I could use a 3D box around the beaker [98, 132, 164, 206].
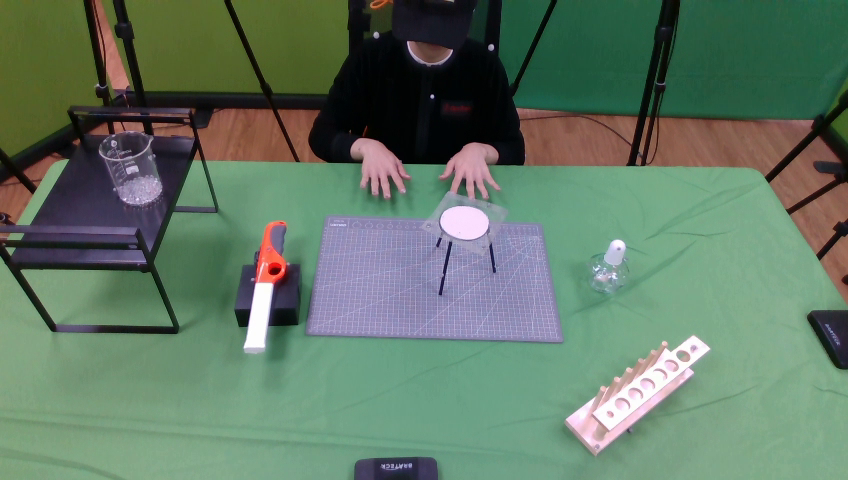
[{"bbox_3d":[-0.460,-0.112,0.968,0.073,0.101,0.084,37,54,28],"label":"beaker"}]

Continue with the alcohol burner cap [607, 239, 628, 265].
[{"bbox_3d":[0.351,0.019,1.091,0.034,0.048,0.033,2,45,-1],"label":"alcohol burner cap"}]

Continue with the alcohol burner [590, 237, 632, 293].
[{"bbox_3d":[0.348,0.040,1.114,0.078,0.119,0.077,3,44,-2],"label":"alcohol burner"}]

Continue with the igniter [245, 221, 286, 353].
[{"bbox_3d":[-0.270,0.070,1.040,0.057,0.025,0.274,2,48,-6],"label":"igniter"}]

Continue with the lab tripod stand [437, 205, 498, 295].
[{"bbox_3d":[0.066,0.010,1.107,0.148,0.132,0.147,0,46,0],"label":"lab tripod stand"}]

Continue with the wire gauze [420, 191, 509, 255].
[{"bbox_3d":[0.072,-0.035,1.058,0.125,0.011,0.121,21,48,18],"label":"wire gauze"}]

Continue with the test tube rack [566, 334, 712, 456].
[{"bbox_3d":[0.339,0.228,0.950,0.242,0.085,0.066,-26,52,-26],"label":"test tube rack"}]
